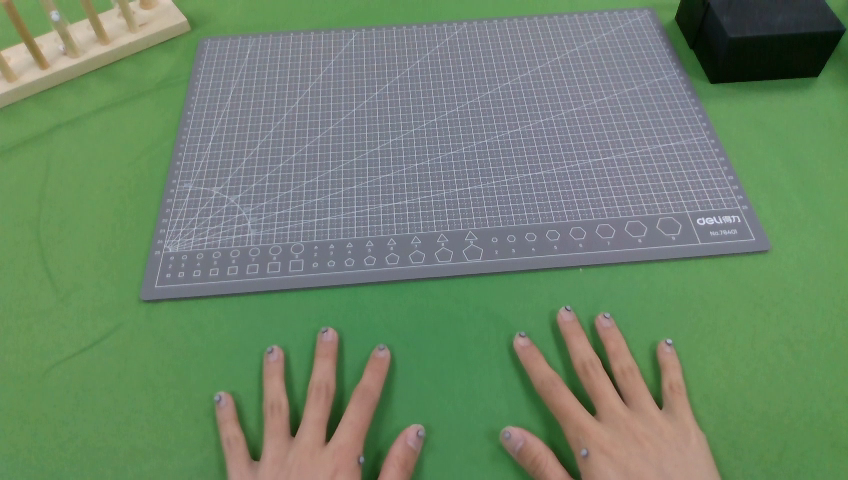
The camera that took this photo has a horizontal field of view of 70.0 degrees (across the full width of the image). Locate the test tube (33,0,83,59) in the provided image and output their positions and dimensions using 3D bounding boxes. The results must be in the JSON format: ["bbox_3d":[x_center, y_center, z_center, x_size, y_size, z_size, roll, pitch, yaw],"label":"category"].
[{"bbox_3d":[-0.329,-0.218,0.510,0.017,0.152,0.017,0,54,1],"label":"test tube"}]

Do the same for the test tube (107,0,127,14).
[{"bbox_3d":[-0.308,-0.269,0.540,0.017,0.151,0.017,-4,55,6],"label":"test tube"}]

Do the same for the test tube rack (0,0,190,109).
[{"bbox_3d":[-0.352,-0.195,0.549,0.242,0.086,0.066,-31,59,-19],"label":"test tube rack"}]
